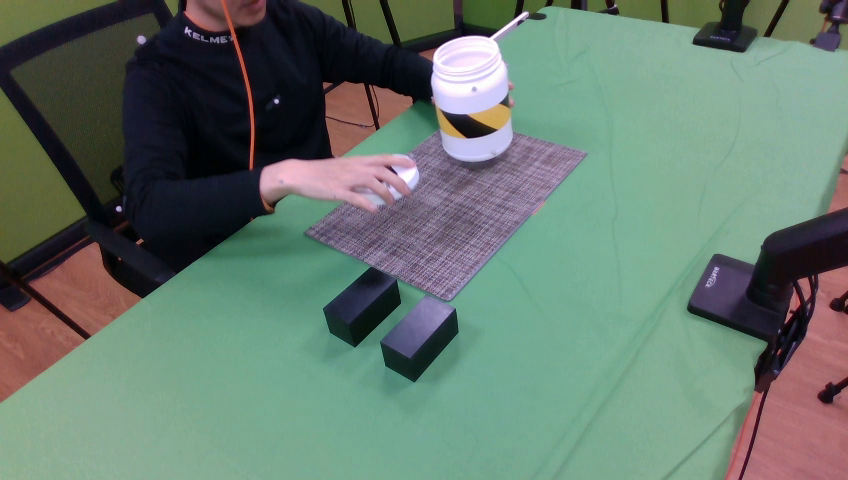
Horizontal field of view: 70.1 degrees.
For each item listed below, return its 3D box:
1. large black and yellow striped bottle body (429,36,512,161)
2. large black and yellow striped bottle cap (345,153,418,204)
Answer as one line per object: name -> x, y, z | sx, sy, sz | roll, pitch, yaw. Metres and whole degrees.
large black and yellow striped bottle body -> 0.082, -0.247, 1.060 | 0.130, 0.185, 0.130 | -7, 44, 8
large black and yellow striped bottle cap -> -0.066, -0.097, 0.929 | 0.115, 0.019, 0.114 | -12, 36, 9
